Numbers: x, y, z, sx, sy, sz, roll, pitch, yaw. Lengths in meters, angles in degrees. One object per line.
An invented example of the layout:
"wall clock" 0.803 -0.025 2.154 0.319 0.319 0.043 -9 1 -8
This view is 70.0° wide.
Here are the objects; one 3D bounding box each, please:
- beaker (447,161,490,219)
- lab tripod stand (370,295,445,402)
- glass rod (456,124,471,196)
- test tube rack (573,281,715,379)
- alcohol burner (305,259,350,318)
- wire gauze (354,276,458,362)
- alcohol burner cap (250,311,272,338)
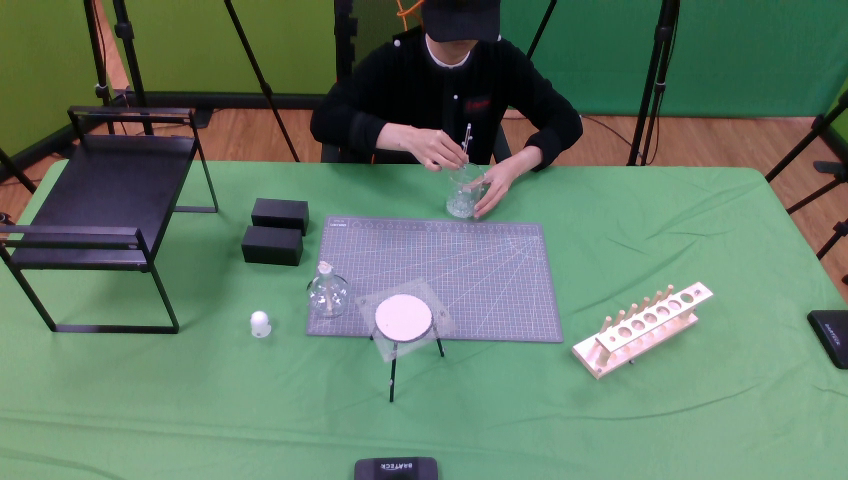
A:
"beaker" 0.088 -0.099 1.243 0.084 0.101 0.073 5 46 1
"lab tripod stand" -0.036 0.160 0.959 0.148 0.132 0.147 1 46 0
"glass rod" 0.078 -0.154 1.202 0.008 0.200 0.008 3 54 -3
"test tube rack" 0.378 0.140 1.038 0.242 0.085 0.066 -22 51 -22
"alcohol burner" -0.166 0.078 1.040 0.078 0.120 0.077 1 44 -1
"wire gauze" -0.029 0.113 0.912 0.121 0.011 0.124 -18 49 -19
"alcohol burner cap" -0.278 0.141 1.026 0.034 0.048 0.033 1 46 -1
